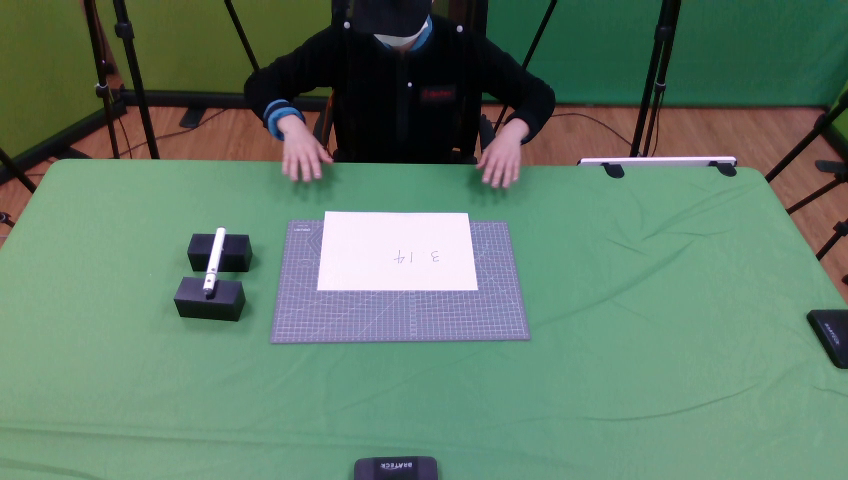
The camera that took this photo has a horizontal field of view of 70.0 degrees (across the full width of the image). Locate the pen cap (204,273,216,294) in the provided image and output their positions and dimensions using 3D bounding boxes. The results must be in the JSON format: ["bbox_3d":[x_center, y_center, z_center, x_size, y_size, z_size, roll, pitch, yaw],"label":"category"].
[{"bbox_3d":[-0.364,0.075,1.032,0.017,0.017,0.038,-1,45,-6],"label":"pen cap"}]

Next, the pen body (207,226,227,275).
[{"bbox_3d":[-0.369,0.030,1.076,0.017,0.017,0.143,0,46,-5],"label":"pen body"}]
